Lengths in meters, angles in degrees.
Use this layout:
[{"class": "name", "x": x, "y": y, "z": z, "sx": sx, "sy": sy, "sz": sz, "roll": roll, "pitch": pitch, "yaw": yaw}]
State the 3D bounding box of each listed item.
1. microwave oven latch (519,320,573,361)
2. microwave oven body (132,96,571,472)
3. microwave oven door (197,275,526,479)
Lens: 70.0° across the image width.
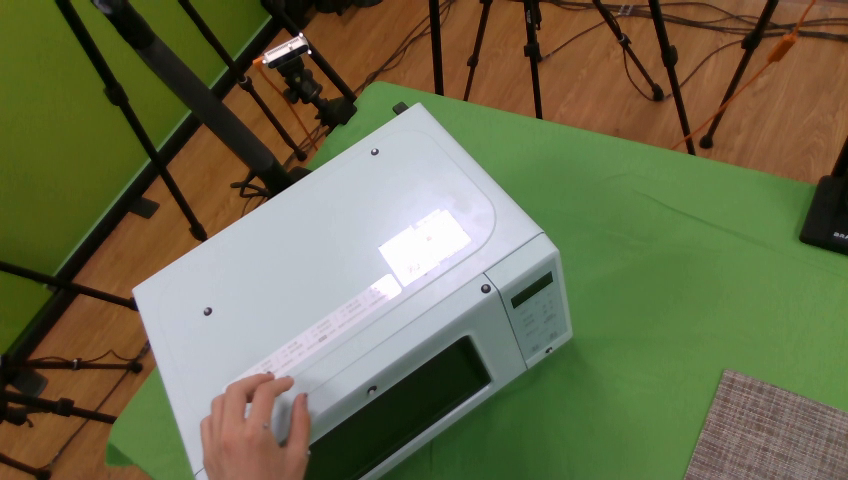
[{"class": "microwave oven latch", "x": 0.161, "y": 0.128, "z": 0.811, "sx": 0.079, "sy": 0.030, "sz": 0.030, "roll": -33, "pitch": 56, "yaw": -3}, {"class": "microwave oven body", "x": -0.085, "y": 0.084, "z": 0.799, "sx": 0.442, "sy": 0.263, "sz": 0.322, "roll": -35, "pitch": 56, "yaw": -5}, {"class": "microwave oven door", "x": -0.047, "y": 0.199, "z": 0.709, "sx": 0.356, "sy": 0.246, "sz": 0.039, "roll": -35, "pitch": 55, "yaw": -5}]
